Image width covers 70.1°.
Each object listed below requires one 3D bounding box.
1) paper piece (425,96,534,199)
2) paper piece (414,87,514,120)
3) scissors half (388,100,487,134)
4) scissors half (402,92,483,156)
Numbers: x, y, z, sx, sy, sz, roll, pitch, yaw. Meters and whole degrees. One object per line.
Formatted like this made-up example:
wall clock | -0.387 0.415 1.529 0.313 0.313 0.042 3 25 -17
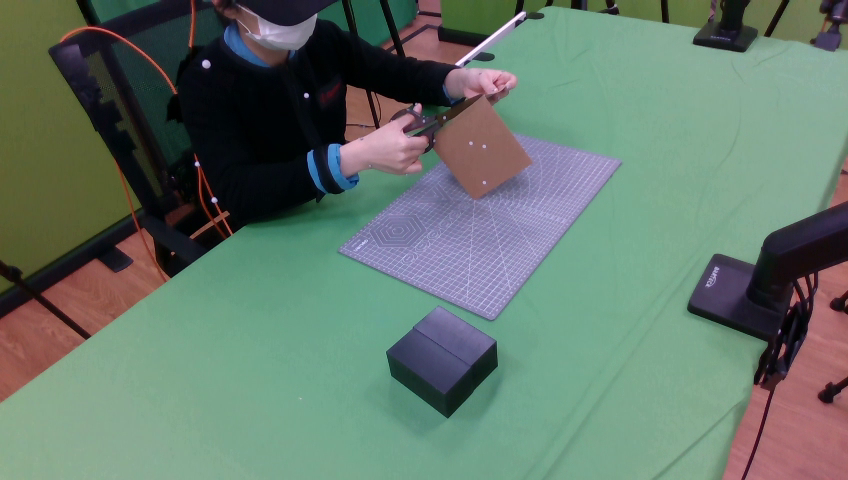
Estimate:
paper piece | 0.088 -0.146 0.992 0.135 0.136 0.004 -31 15 37
paper piece | 0.071 -0.232 1.035 0.135 0.008 0.139 -11 11 32
scissors half | 0.019 -0.206 0.981 0.174 0.040 0.013 -8 35 22
scissors half | 0.030 -0.189 0.989 0.174 0.040 0.013 -36 17 34
